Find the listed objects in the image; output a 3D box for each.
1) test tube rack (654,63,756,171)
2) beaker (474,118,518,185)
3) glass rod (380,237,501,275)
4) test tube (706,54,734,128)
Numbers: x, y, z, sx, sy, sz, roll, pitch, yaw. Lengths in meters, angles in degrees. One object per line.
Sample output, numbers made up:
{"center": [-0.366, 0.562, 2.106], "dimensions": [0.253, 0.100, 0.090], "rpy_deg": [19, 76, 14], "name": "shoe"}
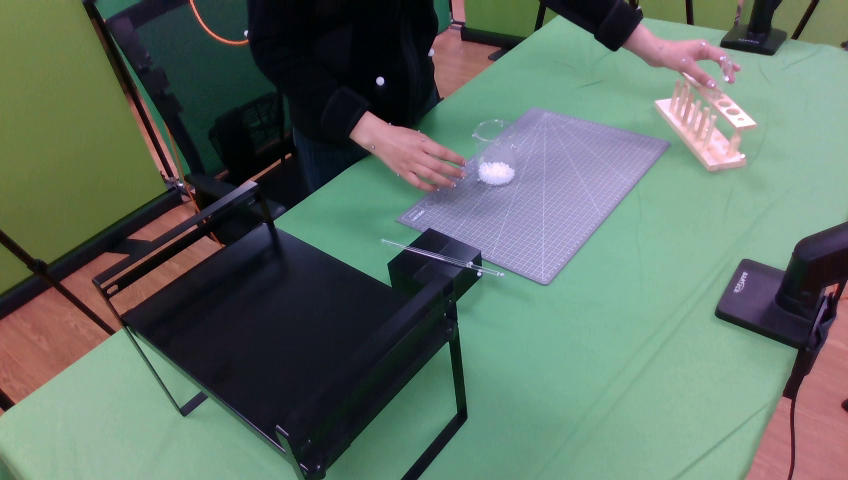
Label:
{"center": [0.511, -0.233, 1.120], "dimensions": [0.067, 0.085, 0.241], "rpy_deg": [-9, 41, -1], "name": "test tube rack"}
{"center": [0.130, -0.157, 1.073], "dimensions": [0.073, 0.101, 0.084], "rpy_deg": [11, 44, 20], "name": "beaker"}
{"center": [0.020, 0.023, 0.881], "dimensions": [0.198, 0.008, 0.008], "rpy_deg": [16, 46, 25], "name": "glass rod"}
{"center": [0.524, -0.260, 1.073], "dimensions": [0.017, 0.151, 0.017], "rpy_deg": [-4, 46, 5], "name": "test tube"}
